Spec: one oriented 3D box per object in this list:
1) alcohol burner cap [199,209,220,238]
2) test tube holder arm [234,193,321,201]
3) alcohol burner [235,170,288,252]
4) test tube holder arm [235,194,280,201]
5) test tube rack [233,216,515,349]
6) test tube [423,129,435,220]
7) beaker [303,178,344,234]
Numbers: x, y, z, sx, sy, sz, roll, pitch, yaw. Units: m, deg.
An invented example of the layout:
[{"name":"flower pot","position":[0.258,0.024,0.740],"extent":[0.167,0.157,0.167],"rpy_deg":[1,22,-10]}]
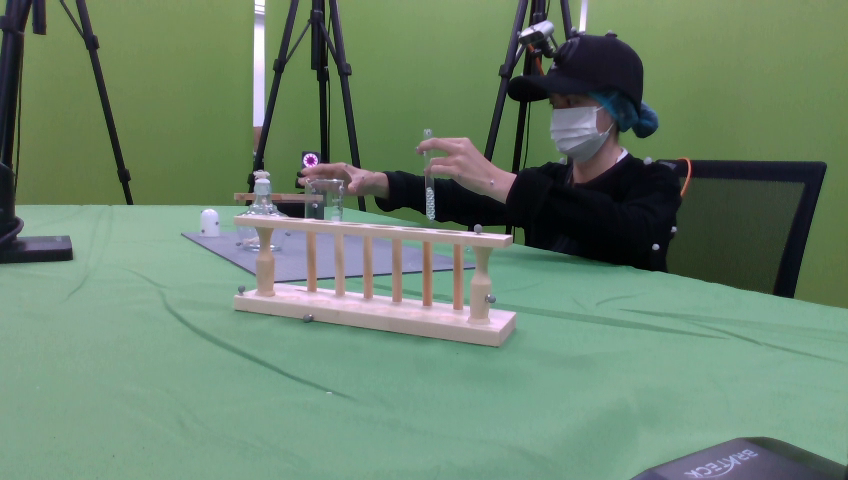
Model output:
[{"name":"alcohol burner cap","position":[-0.356,-0.027,1.002],"extent":[0.034,0.048,0.034],"rpy_deg":[2,7,0]},{"name":"test tube holder arm","position":[-0.299,-0.088,1.248],"extent":[0.179,0.015,0.013],"rpy_deg":[-1,16,-30]},{"name":"alcohol burner","position":[-0.236,-0.042,0.882],"extent":[0.078,0.119,0.078],"rpy_deg":[2,9,0]},{"name":"test tube holder arm","position":[-0.336,-0.086,1.221],"extent":[0.088,0.015,0.010],"rpy_deg":[-1,16,-29]},{"name":"test tube rack","position":[-0.045,0.029,0.526],"extent":[0.241,0.085,0.067],"rpy_deg":[5,8,19]},{"name":"test tube","position":[0.008,-0.108,0.995],"extent":[0.017,0.150,0.017],"rpy_deg":[-2,2,0]},{"name":"beaker","position":[-0.189,-0.063,1.119],"extent":[0.073,0.100,0.084],"rpy_deg":[6,9,28]}]
